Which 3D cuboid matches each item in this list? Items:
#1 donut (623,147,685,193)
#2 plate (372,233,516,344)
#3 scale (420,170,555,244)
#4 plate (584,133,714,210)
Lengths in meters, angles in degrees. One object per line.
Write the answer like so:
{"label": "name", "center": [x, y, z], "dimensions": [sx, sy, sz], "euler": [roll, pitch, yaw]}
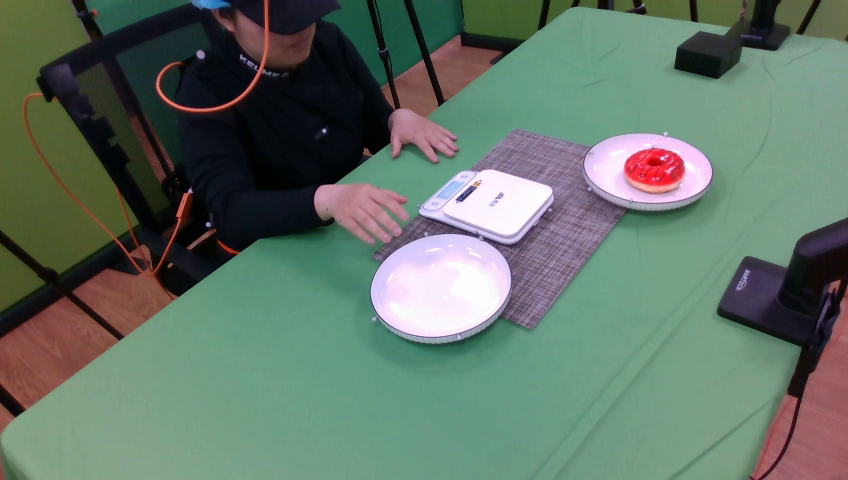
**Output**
{"label": "donut", "center": [0.388, -0.119, 1.019], "dimensions": [0.099, 0.048, 0.098], "euler": [-4, 42, 4]}
{"label": "plate", "center": [0.030, 0.072, 0.879], "dimensions": [0.207, 0.039, 0.206], "euler": [-6, 42, 6]}
{"label": "scale", "center": [0.106, -0.065, 1.029], "dimensions": [0.199, 0.032, 0.149], "euler": [21, 48, 32]}
{"label": "plate", "center": [0.379, -0.113, 1.030], "dimensions": [0.209, 0.038, 0.208], "euler": [-4, 41, 4]}
